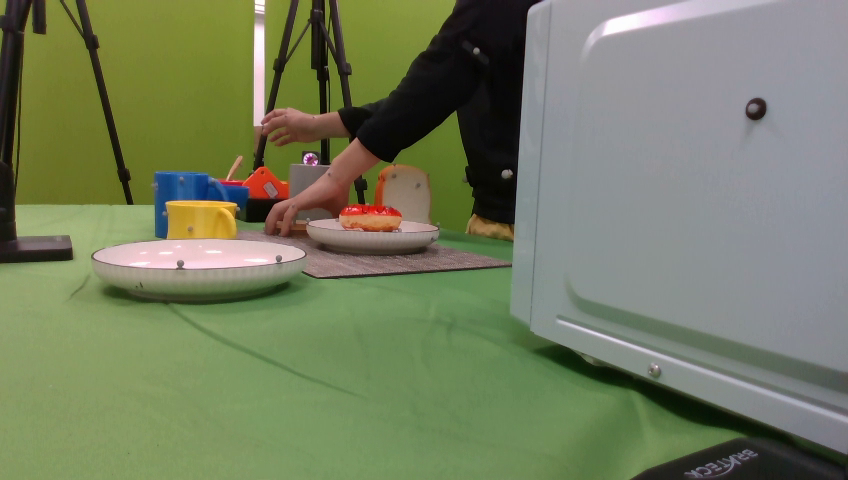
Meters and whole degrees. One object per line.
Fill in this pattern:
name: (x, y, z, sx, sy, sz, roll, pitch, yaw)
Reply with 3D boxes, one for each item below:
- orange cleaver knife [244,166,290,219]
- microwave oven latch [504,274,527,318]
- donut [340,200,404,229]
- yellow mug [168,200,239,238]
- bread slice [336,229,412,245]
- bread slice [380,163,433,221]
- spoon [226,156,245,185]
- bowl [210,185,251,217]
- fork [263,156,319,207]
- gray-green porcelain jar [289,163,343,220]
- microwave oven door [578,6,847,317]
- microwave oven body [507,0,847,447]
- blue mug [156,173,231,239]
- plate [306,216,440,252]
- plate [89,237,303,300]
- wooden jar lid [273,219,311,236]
orange cleaver knife: (-0.301, -0.089, 1.351, 0.212, 0.077, 0.012, 32, -11, -34)
microwave oven latch: (0.100, 0.041, 0.471, 0.079, 0.029, 0.030, -1, 8, -28)
donut: (-0.081, -0.038, 0.945, 0.099, 0.048, 0.099, 1, 5, 0)
yellow mug: (-0.320, -0.023, 0.904, 0.130, 0.064, 0.100, 9, 11, 36)
bread slice: (-0.074, -0.006, 0.938, 0.105, 0.019, 0.131, -1, 4, -18)
bread slice: (-0.035, -0.076, 1.124, 0.107, 0.134, 0.018, -4, 1, -25)
spoon: (-0.477, -0.144, 1.492, 0.041, 0.022, 0.193, 0, 51, 13)
bowl: (-0.408, -0.064, 1.155, 0.151, 0.077, 0.151, 2, 8, 0)
fork: (-0.331, -0.144, 1.506, 0.207, 0.018, 0.028, -42, -17, 22)
gray-green porcelain jar: (-0.218, -0.091, 1.220, 0.106, 0.126, 0.106, 2, 7, 0)
microwave oven door: (0.294, -0.067, 0.570, 0.358, 0.243, 0.039, -3, 9, -31)
microwave oven body: (0.331, -0.042, 0.425, 0.444, 0.260, 0.324, -2, 8, -31)
blue mug: (-0.381, -0.057, 1.004, 0.117, 0.106, 0.082, 1, 8, -12)
plate: (-0.079, -0.011, 0.950, 0.209, 0.038, 0.209, 2, 8, 0)
plate: (-0.233, 0.029, 0.637, 0.208, 0.039, 0.207, 2, 7, 0)
wooden jar lid: (-0.214, -0.023, 1.080, 0.108, 0.020, 0.108, 2, 7, 0)
